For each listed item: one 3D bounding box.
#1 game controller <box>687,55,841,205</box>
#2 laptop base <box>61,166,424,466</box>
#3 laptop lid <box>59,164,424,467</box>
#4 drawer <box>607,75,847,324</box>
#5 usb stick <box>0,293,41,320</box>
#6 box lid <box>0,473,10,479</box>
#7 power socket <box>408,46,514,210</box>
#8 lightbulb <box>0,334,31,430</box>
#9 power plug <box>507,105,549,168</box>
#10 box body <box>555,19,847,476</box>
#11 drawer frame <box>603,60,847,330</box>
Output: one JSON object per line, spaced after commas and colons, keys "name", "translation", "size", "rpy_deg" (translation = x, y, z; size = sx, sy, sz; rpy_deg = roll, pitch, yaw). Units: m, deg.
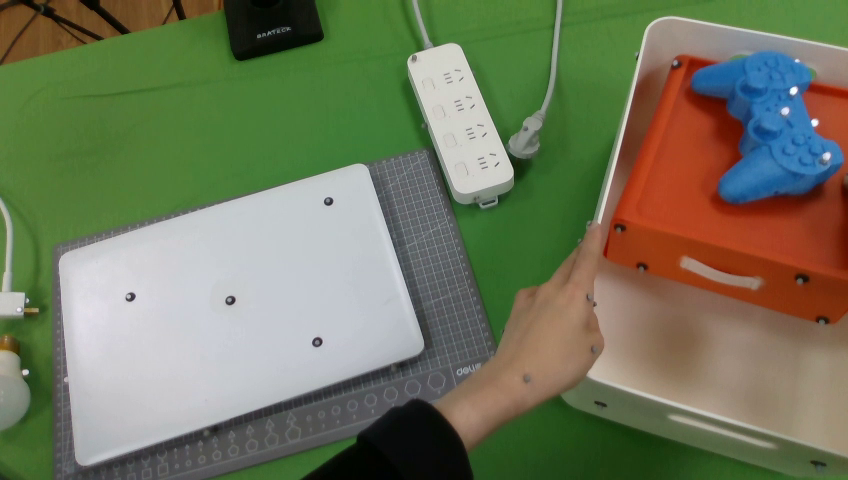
{"name": "game controller", "translation": [0.298, -0.104, 0.535], "size": [0.097, 0.052, 0.154], "rpy_deg": [1, 59, 3]}
{"name": "laptop base", "translation": [-0.198, 0.068, 0.643], "size": [0.354, 0.023, 0.233], "rpy_deg": [-18, 69, -4]}
{"name": "laptop lid", "translation": [-0.199, 0.065, 0.632], "size": [0.357, 0.013, 0.239], "rpy_deg": [-16, 68, -3]}
{"name": "drawer", "translation": [0.297, -0.048, 0.567], "size": [0.193, 0.074, 0.210], "rpy_deg": [16, 60, 21]}
{"name": "usb stick", "translation": [-0.444, 0.071, 0.647], "size": [0.059, 0.021, 0.027], "rpy_deg": [8, 66, -28]}
{"name": "box lid", "translation": [-0.402, 0.366, 0.526], "size": [0.370, 0.015, 0.262], "rpy_deg": [24, 70, 14]}
{"name": "power socket", "translation": [0.040, -0.138, 0.713], "size": [0.072, 0.033, 0.224], "rpy_deg": [-16, 65, -4]}
{"name": "lightbulb", "translation": [-0.429, 0.141, 0.611], "size": [0.059, 0.060, 0.106], "rpy_deg": [-18, 50, -4]}
{"name": "power plug", "translation": [0.126, -0.114, 0.693], "size": [0.072, 0.053, 0.035], "rpy_deg": [-33, 62, -30]}
{"name": "box body", "translation": [0.282, 0.005, 0.558], "size": [0.253, 0.161, 0.362], "rpy_deg": [15, 67, 11]}
{"name": "drawer frame", "translation": [0.298, -0.052, 0.564], "size": [0.200, 0.083, 0.212], "rpy_deg": [17, 62, 20]}
